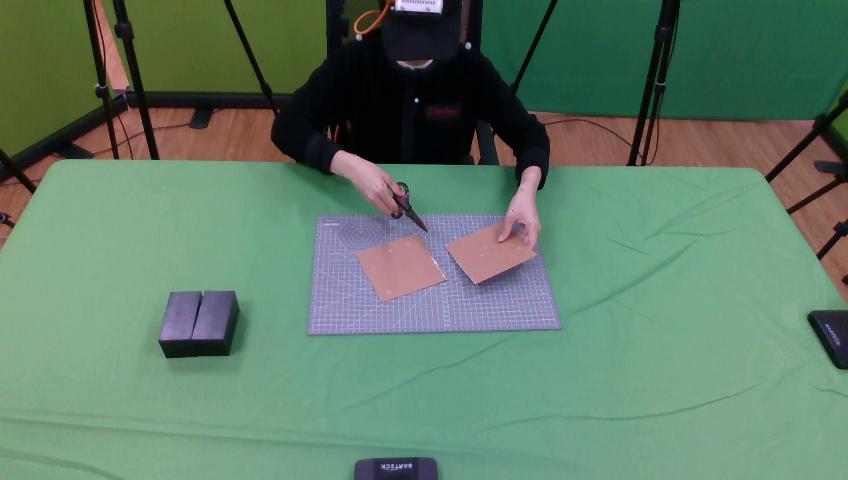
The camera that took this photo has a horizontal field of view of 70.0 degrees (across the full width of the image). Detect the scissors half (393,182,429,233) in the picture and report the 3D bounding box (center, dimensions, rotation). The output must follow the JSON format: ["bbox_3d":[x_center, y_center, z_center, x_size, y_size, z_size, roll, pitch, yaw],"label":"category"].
[{"bbox_3d":[-0.024,-0.062,1.160,0.013,0.040,0.174,11,31,-33],"label":"scissors half"}]

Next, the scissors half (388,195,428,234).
[{"bbox_3d":[-0.031,-0.045,1.167,0.013,0.040,0.174,6,18,-30],"label":"scissors half"}]

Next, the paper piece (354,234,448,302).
[{"bbox_3d":[-0.045,0.049,1.154,0.138,0.009,0.135,-17,46,-18],"label":"paper piece"}]

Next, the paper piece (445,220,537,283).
[{"bbox_3d":[0.126,0.019,1.167,0.136,0.004,0.134,-24,38,-11],"label":"paper piece"}]
